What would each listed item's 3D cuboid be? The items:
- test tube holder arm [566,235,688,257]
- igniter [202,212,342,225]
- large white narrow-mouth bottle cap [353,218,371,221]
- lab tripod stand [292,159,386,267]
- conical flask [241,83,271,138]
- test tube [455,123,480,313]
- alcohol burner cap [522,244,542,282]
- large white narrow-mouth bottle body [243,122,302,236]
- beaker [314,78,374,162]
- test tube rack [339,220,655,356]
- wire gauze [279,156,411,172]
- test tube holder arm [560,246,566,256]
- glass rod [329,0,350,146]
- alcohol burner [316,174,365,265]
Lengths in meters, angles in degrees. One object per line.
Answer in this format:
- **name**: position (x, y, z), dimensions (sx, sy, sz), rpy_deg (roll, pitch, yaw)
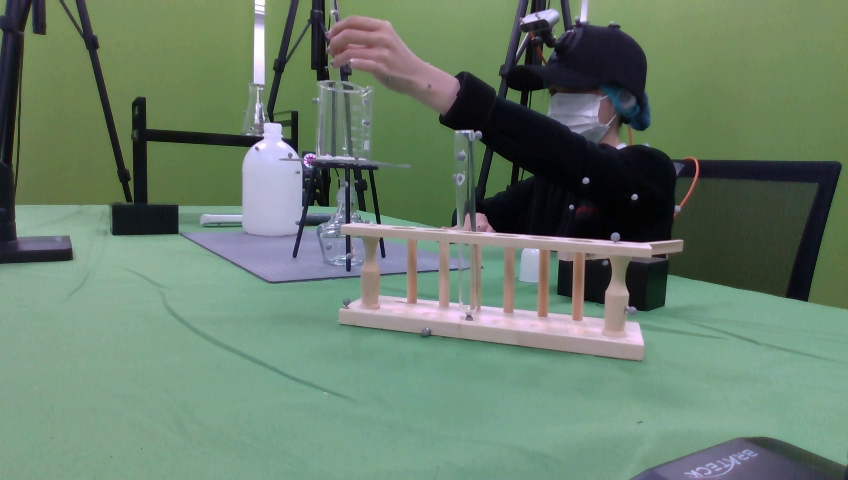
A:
- **test tube holder arm**: position (0.215, 0.006, 0.629), dimensions (0.179, 0.015, 0.013), rpy_deg (-3, 10, -30)
- **igniter**: position (-0.298, -0.043, 1.216), dimensions (0.278, 0.025, 0.057), rpy_deg (-3, -2, -32)
- **large white narrow-mouth bottle cap**: position (-0.121, -0.029, 1.184), dimensions (0.038, 0.024, 0.037), rpy_deg (2, 8, 0)
- **lab tripod stand**: position (-0.105, -0.039, 0.798), dimensions (0.148, 0.131, 0.148), rpy_deg (2, 5, 0)
- **conical flask**: position (-0.384, -0.297, 1.393), dimensions (0.075, 0.122, 0.075), rpy_deg (2, 7, 0)
- **test tube**: position (0.034, -0.016, 0.476), dimensions (0.017, 0.150, 0.017), rpy_deg (-2, 9, 1)
- **alcohol burner cap**: position (0.136, 0.026, 0.741), dimensions (0.034, 0.048, 0.034), rpy_deg (0, 6, 0)
- **large white narrow-mouth bottle body**: position (-0.264, -0.109, 1.061), dimensions (0.102, 0.194, 0.102), rpy_deg (2, 8, 0)
- **beaker**: position (-0.101, -0.150, 0.773), dimensions (0.074, 0.100, 0.083), rpy_deg (-2, 8, -40)
- **test tube rack**: position (0.056, 0.032, 0.495), dimensions (0.242, 0.085, 0.067), rpy_deg (4, 7, 15)
- **wire gauze**: position (-0.103, -0.103, 0.785), dimensions (0.121, 0.011, 0.126), rpy_deg (11, 8, 42)
- **test tube holder arm**: position (0.173, 0.007, 0.611), dimensions (0.088, 0.015, 0.010), rpy_deg (-3, 10, -30)
- **glass rod**: position (-0.109, -0.221, 0.780), dimensions (0.008, 0.199, 0.008), rpy_deg (-4, 16, 2)
- **alcohol burner**: position (-0.102, -0.028, 0.790), dimensions (0.078, 0.119, 0.078), rpy_deg (0, 6, 0)
